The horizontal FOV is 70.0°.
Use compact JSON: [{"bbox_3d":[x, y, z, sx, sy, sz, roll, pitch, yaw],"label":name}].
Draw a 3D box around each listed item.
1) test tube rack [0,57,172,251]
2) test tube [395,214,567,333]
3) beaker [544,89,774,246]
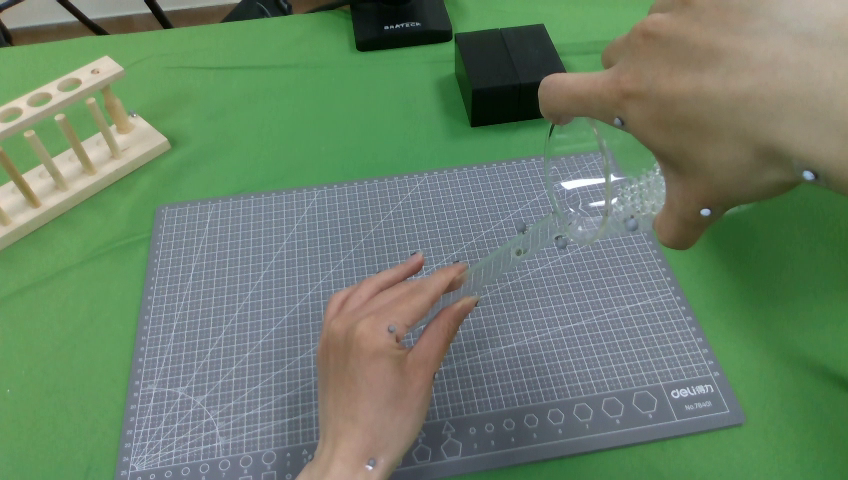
[{"bbox_3d":[-0.373,-0.069,0.566,0.066,0.086,0.242,36,60,26],"label":"test tube rack"},{"bbox_3d":[0.031,0.026,0.396,0.017,0.150,0.017,29,42,-30],"label":"test tube"},{"bbox_3d":[0.126,-0.040,0.331,0.100,0.084,0.073,-10,55,-10],"label":"beaker"}]
